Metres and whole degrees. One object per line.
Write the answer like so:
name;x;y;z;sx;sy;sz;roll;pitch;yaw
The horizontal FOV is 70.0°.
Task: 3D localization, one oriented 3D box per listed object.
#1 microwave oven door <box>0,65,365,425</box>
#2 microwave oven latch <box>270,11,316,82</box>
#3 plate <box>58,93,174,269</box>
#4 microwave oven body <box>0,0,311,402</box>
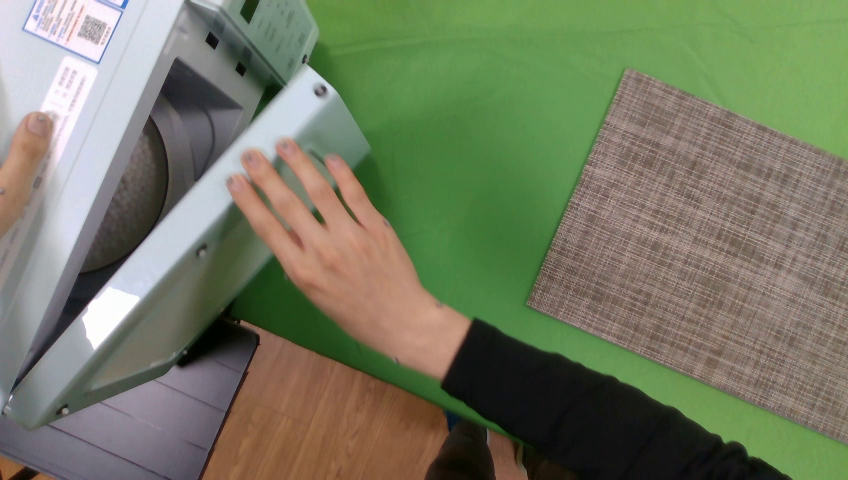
microwave oven door;-0.199;0.004;0.576;0.039;0.244;0.355;42;90;2
microwave oven latch;-0.149;-0.220;0.678;0.030;0.029;0.079;27;90;0
plate;-0.363;-0.074;0.639;0.209;0.038;0.209;0;91;0
microwave oven body;-0.358;-0.122;0.582;0.326;0.260;0.441;24;90;0
